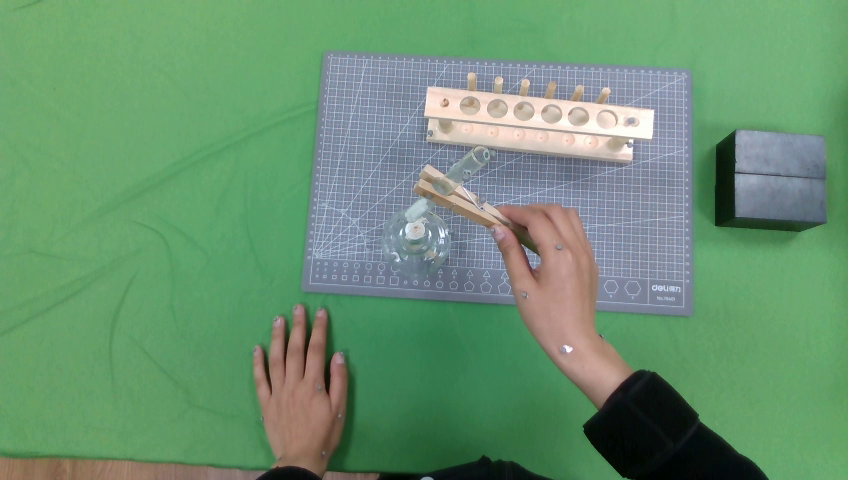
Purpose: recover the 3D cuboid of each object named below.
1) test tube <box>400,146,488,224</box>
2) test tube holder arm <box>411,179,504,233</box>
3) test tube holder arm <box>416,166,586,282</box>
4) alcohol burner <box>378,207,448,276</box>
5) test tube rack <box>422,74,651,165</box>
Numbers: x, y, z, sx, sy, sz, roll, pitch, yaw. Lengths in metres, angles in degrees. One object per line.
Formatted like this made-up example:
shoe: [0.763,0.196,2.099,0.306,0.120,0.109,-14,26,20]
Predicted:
test tube: [0.012,-0.042,0.513,0.017,0.150,0.017,8,70,-22]
test tube holder arm: [0.030,-0.028,0.518,0.088,0.015,0.010,24,70,-16]
test tube holder arm: [0.070,-0.012,0.531,0.179,0.015,0.013,31,69,-14]
alcohol burner: [-0.012,-0.001,0.653,0.078,0.119,0.077,0,79,-1]
test tube rack: [0.123,-0.142,0.689,0.242,0.085,0.066,7,81,2]
